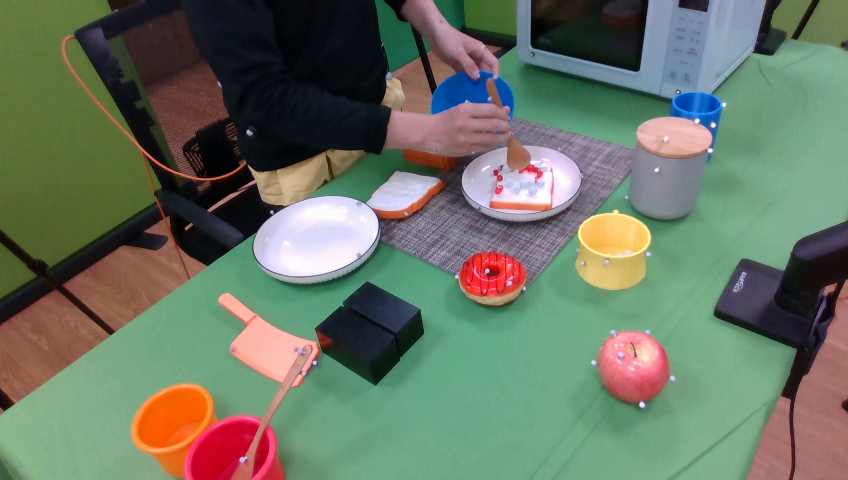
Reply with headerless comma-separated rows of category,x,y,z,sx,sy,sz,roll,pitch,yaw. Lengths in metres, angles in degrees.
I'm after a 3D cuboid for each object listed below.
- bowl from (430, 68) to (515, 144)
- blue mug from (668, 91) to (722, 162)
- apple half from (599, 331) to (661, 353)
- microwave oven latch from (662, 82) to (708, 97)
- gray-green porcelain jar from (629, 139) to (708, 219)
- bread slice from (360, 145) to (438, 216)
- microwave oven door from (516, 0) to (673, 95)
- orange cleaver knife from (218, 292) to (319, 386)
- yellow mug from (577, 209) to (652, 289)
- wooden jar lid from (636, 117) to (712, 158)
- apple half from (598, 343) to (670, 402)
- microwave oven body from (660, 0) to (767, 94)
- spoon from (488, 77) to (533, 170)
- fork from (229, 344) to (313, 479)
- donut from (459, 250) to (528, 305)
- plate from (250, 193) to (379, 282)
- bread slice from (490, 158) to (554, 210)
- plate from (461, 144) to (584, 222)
bowl,0.088,-0.228,1.096,0.151,0.077,0.150,-2,65,5
blue mug,0.474,-0.207,1.079,0.082,0.106,0.116,4,42,13
apple half,0.249,0.134,0.738,0.081,0.081,0.032,-1,46,7
microwave oven latch,0.518,-0.298,1.202,0.078,0.029,0.030,28,53,35
gray-green porcelain jar,0.383,-0.105,0.958,0.106,0.127,0.105,-4,41,4
bread slice,-0.053,-0.103,1.046,0.106,0.018,0.134,19,67,23
microwave oven door,0.344,-0.458,1.257,0.353,0.245,0.039,26,52,33
orange cleaver knife,-0.235,0.136,0.850,0.209,0.012,0.077,25,56,30
yellow mug,0.279,0.004,0.893,0.099,0.064,0.130,5,42,15
wooden jar lid,0.377,-0.151,0.917,0.108,0.021,0.108,-2,41,3
apple half,0.247,0.161,0.710,0.081,0.075,0.053,1,47,5
microwave oven body,0.473,-0.516,1.313,0.438,0.261,0.327,26,51,34
spoon,0.127,-0.173,0.924,0.041,0.195,0.021,-22,45,11
fork,-0.173,0.205,0.662,0.028,0.019,0.207,29,94,35
donut,0.100,0.053,0.872,0.099,0.048,0.098,-4,40,4
plate,-0.174,0.000,0.984,0.209,0.038,0.208,-3,40,3
bread slice,0.174,-0.099,1.049,0.104,0.019,0.131,4,46,12
plate,0.167,-0.095,1.040,0.207,0.039,0.206,-4,41,4
